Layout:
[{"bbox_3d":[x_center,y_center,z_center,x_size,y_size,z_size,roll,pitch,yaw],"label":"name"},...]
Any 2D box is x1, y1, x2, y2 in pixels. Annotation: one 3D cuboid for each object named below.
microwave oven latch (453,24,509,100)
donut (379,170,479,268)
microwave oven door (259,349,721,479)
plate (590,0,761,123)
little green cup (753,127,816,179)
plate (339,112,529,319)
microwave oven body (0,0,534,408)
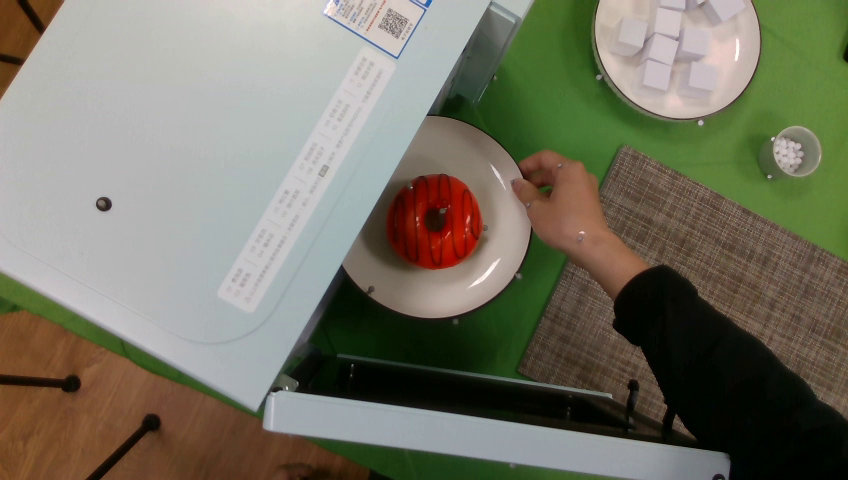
[{"bbox_3d":[0.065,-0.201,0.688,0.030,0.029,0.079,34,85,-3],"label":"microwave oven latch"},{"bbox_3d":[0.005,-0.020,0.604,0.099,0.048,0.099,0,86,-5],"label":"donut"},{"bbox_3d":[0.046,0.158,0.566,0.356,0.244,0.039,9,84,-5],"label":"microwave oven door"},{"bbox_3d":[0.298,-0.240,0.731,0.208,0.039,0.207,0,87,-5],"label":"plate"},{"bbox_3d":[0.436,-0.103,0.737,0.061,0.038,0.061,0,86,-5],"label":"little green cup"},{"bbox_3d":[0.002,-0.025,0.615,0.209,0.038,0.208,1,83,-7],"label":"plate"},{"bbox_3d":[-0.142,-0.126,0.568,0.326,0.260,0.441,30,85,-3],"label":"microwave oven body"}]
